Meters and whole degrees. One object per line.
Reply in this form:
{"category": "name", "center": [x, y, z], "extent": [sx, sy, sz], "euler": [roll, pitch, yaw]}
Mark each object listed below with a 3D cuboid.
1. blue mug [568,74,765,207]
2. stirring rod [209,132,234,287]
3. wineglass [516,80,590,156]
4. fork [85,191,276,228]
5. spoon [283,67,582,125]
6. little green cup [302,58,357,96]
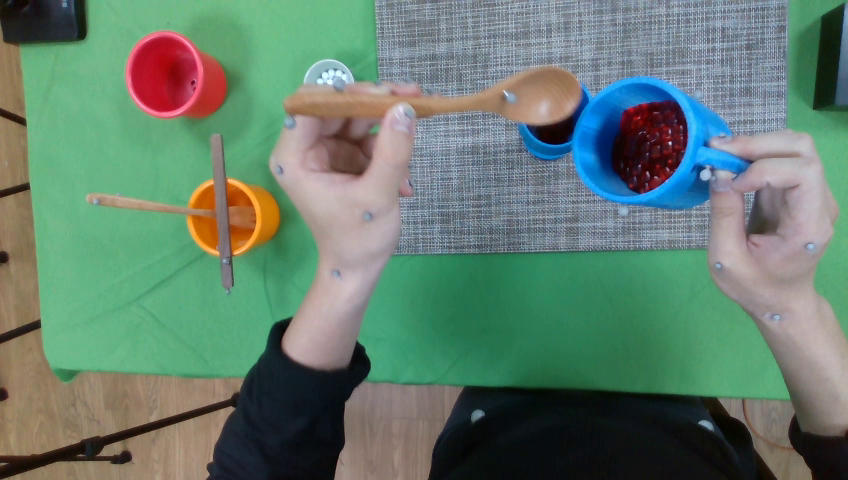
{"category": "blue mug", "center": [0.176, -0.062, 0.425], "extent": [0.115, 0.106, 0.082], "euler": [22, 104, 36]}
{"category": "stirring rod", "center": [-0.231, -0.034, 0.690], "extent": [0.014, 0.006, 0.176], "euler": [-2, 96, 10]}
{"category": "wineglass", "center": [0.129, -0.121, 0.612], "extent": [0.073, 0.172, 0.074], "euler": [1, 95, 9]}
{"category": "fork", "center": [-0.273, -0.036, 0.700], "extent": [0.209, 0.018, 0.028], "euler": [7, 105, -35]}
{"category": "spoon", "center": [0.015, -0.079, 0.345], "extent": [0.021, 0.194, 0.042], "euler": [57, 142, 30]}
{"category": "little green cup", "center": [-0.109, -0.180, 0.715], "extent": [0.061, 0.038, 0.061], "euler": [1, 96, 10]}
